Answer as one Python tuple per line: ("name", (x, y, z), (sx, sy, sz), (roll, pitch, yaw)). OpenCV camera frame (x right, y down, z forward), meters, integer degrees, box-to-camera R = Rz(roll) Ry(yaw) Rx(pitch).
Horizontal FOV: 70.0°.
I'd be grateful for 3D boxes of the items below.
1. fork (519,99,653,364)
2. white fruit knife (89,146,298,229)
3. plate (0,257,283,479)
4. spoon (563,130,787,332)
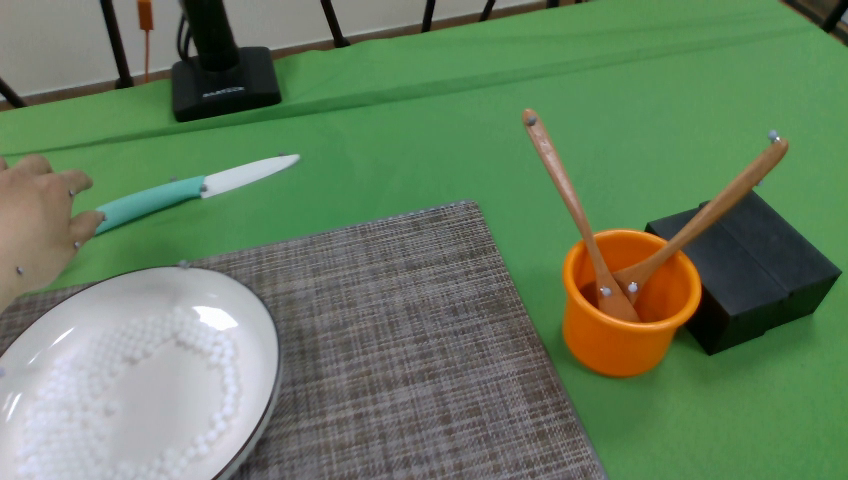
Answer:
("fork", (0.115, -0.006, 0.438), (0.028, 0.018, 0.207), (-25, 96, -5))
("white fruit knife", (-0.222, -0.058, 0.596), (0.208, 0.016, 0.027), (-21, 79, -18))
("plate", (-0.201, 0.101, 0.428), (0.209, 0.038, 0.207), (-1, 48, 2))
("spoon", (0.174, -0.002, 0.427), (0.041, 0.194, 0.021), (45, 25, 4))
